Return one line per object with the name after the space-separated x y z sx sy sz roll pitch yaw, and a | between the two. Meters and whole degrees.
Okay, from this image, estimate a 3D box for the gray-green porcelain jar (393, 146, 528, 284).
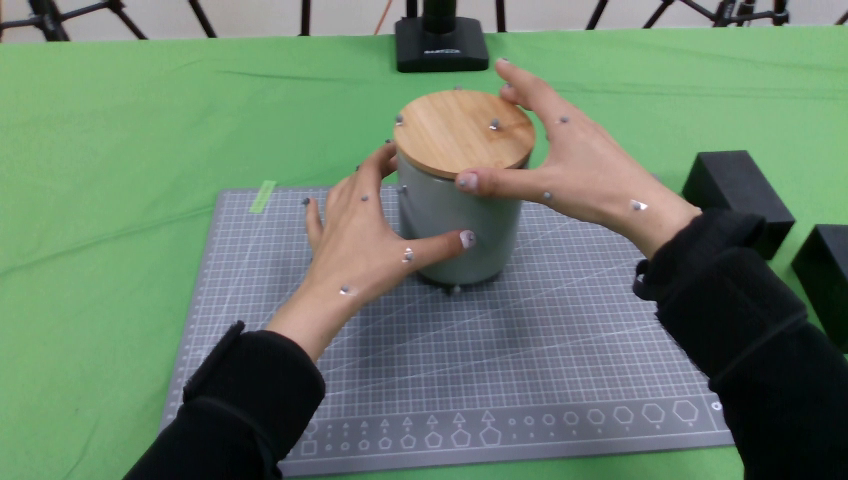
0.028 -0.033 0.512 0.106 0.127 0.105 1 46 0 | gray-green porcelain jar

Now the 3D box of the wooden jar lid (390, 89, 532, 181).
0.028 -0.079 0.464 0.108 0.021 0.107 1 45 -1 | wooden jar lid
